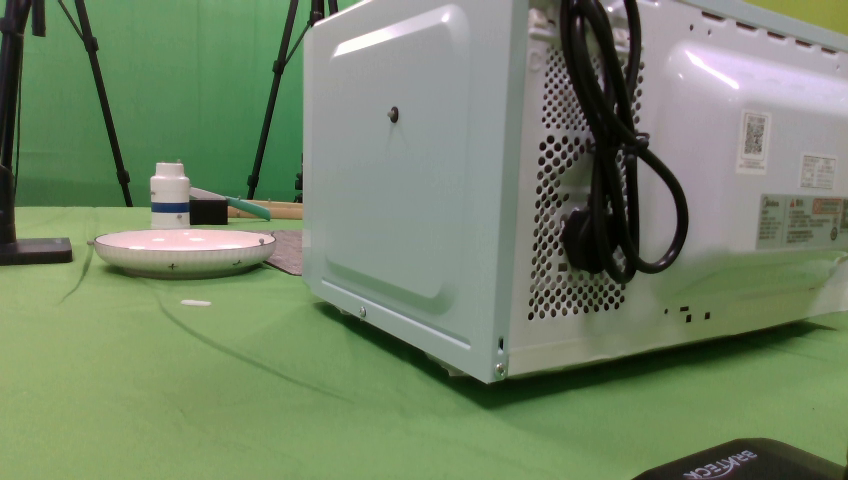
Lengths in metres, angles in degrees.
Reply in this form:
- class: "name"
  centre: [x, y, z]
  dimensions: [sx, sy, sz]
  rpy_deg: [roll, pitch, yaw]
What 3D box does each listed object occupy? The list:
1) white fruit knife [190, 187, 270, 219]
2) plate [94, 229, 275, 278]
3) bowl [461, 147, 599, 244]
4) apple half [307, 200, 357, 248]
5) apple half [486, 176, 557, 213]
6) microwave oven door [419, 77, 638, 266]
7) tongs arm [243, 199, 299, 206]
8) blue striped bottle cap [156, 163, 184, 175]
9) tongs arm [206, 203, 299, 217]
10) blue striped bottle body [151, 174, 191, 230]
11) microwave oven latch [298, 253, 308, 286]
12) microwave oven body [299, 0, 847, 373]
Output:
- class: "white fruit knife"
  centre: [-0.413, -0.081, 1.270]
  dimensions: [0.208, 0.027, 0.016]
  rpy_deg: [17, 13, -41]
- class: "plate"
  centre: [-0.291, 0.016, 0.749]
  dimensions: [0.208, 0.039, 0.207]
  rpy_deg: [2, 7, 0]
- class: "bowl"
  centre: [0.105, -0.042, 0.658]
  dimensions: [0.151, 0.077, 0.151]
  rpy_deg: [16, 5, -1]
- class: "apple half"
  centre: [-0.136, -0.024, 0.942]
  dimensions: [0.053, 0.074, 0.081]
  rpy_deg: [15, 10, 38]
- class: "apple half"
  centre: [0.105, -0.052, 0.658]
  dimensions: [0.081, 0.033, 0.081]
  rpy_deg: [12, -5, 1]
- class: "microwave oven door"
  centre: [0.134, -0.105, 0.895]
  dimensions: [0.354, 0.243, 0.039]
  rpy_deg: [9, 10, 44]
- class: "tongs arm"
  centre: [-0.309, -0.079, 1.486]
  dimensions: [0.385, 0.026, 0.051]
  rpy_deg: [3, 6, -2]
- class: "blue striped bottle cap"
  centre: [-0.439, -0.122, 1.045]
  dimensions: [0.044, 0.020, 0.044]
  rpy_deg: [7, 8, -1]
- class: "tongs arm"
  centre: [-0.302, -0.067, 1.406]
  dimensions: [0.389, 0.028, 0.028]
  rpy_deg: [1, 3, -15]
- class: "blue striped bottle body"
  centre: [-0.439, -0.071, 1.052]
  dimensions: [0.063, 0.120, 0.063]
  rpy_deg: [2, 8, 0]
- class: "microwave oven latch"
  centre: [-0.081, 0.027, 0.582]
  dimensions: [0.079, 0.029, 0.030]
  rpy_deg: [-1, 7, -32]
- class: "microwave oven body"
  centre: [0.152, -0.055, 0.542]
  dimensions: [0.444, 0.260, 0.324]
  rpy_deg: [-2, 7, -33]
